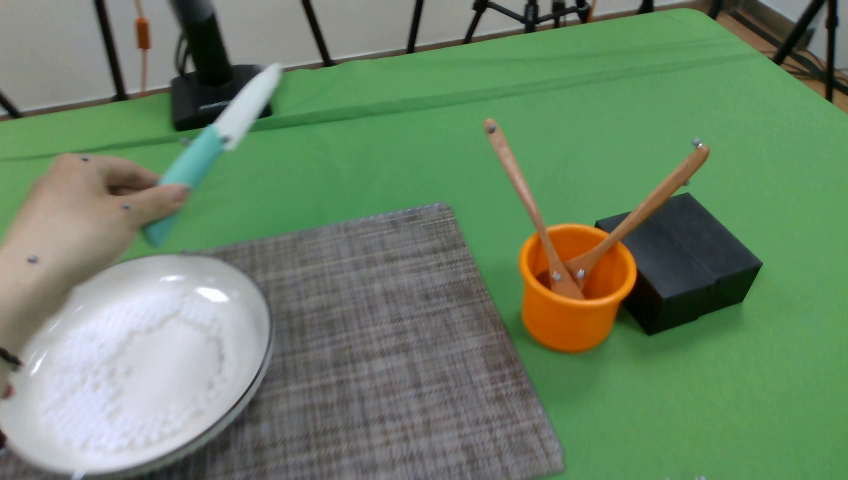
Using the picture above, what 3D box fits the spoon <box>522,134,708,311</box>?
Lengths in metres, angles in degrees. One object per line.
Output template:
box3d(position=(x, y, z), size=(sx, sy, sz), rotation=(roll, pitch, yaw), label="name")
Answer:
box3d(position=(0.154, -0.011, 0.493), size=(0.041, 0.194, 0.021), rotation=(45, 22, 4), label="spoon")

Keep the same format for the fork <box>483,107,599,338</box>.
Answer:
box3d(position=(0.095, -0.015, 0.503), size=(0.028, 0.018, 0.207), rotation=(-25, 94, -7), label="fork")

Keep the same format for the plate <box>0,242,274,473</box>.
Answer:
box3d(position=(-0.222, 0.087, 0.483), size=(0.209, 0.038, 0.207), rotation=(0, 46, 1), label="plate")

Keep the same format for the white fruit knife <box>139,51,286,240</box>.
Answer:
box3d(position=(-0.163, -0.087, 0.486), size=(0.016, 0.028, 0.206), rotation=(-15, 41, 46), label="white fruit knife")
